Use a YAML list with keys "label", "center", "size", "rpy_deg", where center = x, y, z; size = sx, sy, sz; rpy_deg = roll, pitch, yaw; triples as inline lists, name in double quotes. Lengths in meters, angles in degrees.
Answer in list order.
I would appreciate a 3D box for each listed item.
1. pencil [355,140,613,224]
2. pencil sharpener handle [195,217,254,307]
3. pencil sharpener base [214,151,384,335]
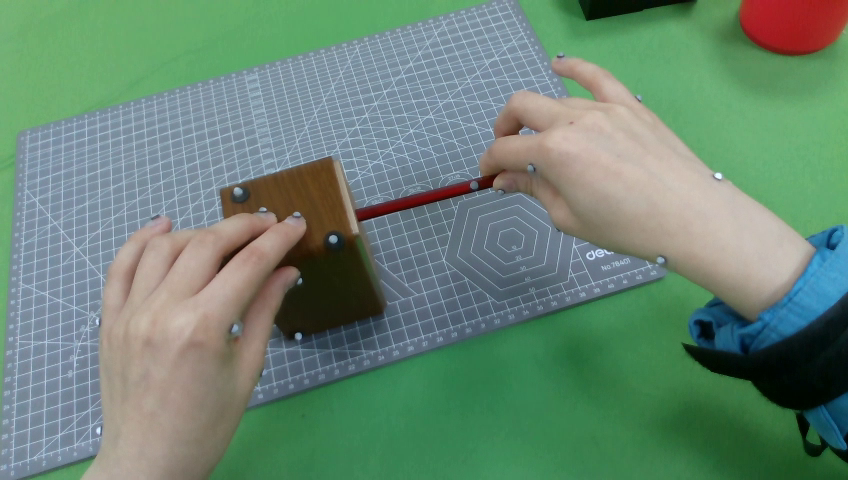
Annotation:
- label: "pencil"
  center: [0.018, -0.029, 0.356]
  size: [0.194, 0.012, 0.012]
  rpy_deg: [-16, 61, -3]
- label: "pencil sharpener handle"
  center: [-0.123, 0.018, 0.360]
  size: [0.030, 0.068, 0.035]
  rpy_deg: [-17, 54, -3]
- label: "pencil sharpener base"
  center: [-0.074, 0.007, 0.375]
  size: [0.077, 0.108, 0.061]
  rpy_deg: [-17, 61, -3]
